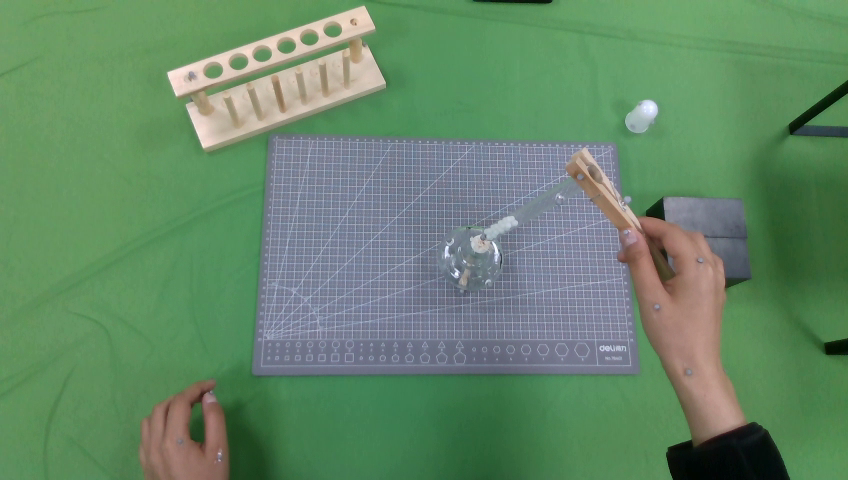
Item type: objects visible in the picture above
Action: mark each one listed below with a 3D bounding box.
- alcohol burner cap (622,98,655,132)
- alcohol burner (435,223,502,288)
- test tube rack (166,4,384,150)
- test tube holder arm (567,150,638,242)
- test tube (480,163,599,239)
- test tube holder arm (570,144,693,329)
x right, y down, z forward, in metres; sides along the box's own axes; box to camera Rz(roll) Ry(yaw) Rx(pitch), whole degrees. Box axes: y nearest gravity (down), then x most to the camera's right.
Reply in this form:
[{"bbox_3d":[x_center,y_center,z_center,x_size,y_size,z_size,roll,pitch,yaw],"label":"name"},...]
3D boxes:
[{"bbox_3d":[0.284,-0.166,0.794,0.034,0.048,0.033,1,73,-3],"label":"alcohol burner cap"},{"bbox_3d":[0.053,0.014,0.684,0.078,0.119,0.077,1,75,-5],"label":"alcohol burner"},{"bbox_3d":[-0.173,-0.198,0.740,0.242,0.085,0.066,-23,77,-11],"label":"test tube rack"},{"bbox_3d":[0.147,-0.035,0.496,0.088,0.015,0.010,50,37,-14],"label":"test tube holder arm"},{"bbox_3d":[0.099,-0.031,0.550,0.017,0.150,0.017,14,63,-29],"label":"test tube"},{"bbox_3d":[0.175,-0.001,0.507,0.179,0.015,0.013,56,37,-6],"label":"test tube holder arm"}]
